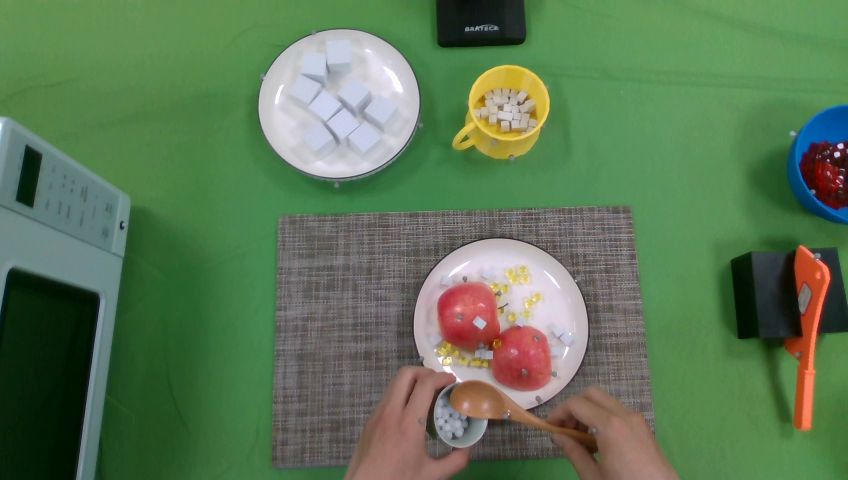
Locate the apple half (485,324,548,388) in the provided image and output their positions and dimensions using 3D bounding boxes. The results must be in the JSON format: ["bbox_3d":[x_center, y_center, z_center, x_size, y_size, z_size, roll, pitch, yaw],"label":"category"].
[{"bbox_3d":[0.110,0.135,0.708,0.081,0.033,0.081,0,74,1],"label":"apple half"}]

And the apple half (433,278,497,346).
[{"bbox_3d":[0.047,0.083,0.709,0.074,0.053,0.080,-4,79,1],"label":"apple half"}]

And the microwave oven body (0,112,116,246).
[{"bbox_3d":[-0.535,0.118,0.601,0.326,0.261,0.439,2,78,0],"label":"microwave oven body"}]

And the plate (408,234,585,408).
[{"bbox_3d":[0.084,0.097,0.722,0.209,0.038,0.208,0,78,0],"label":"plate"}]

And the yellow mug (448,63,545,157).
[{"bbox_3d":[0.086,-0.155,0.767,0.131,0.064,0.099,-33,79,-7],"label":"yellow mug"}]

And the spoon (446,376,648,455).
[{"bbox_3d":[0.115,0.172,0.576,0.193,0.021,0.042,16,102,13],"label":"spoon"}]

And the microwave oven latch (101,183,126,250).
[{"bbox_3d":[-0.381,-0.029,0.732,0.030,0.029,0.079,3,78,0],"label":"microwave oven latch"}]

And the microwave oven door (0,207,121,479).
[{"bbox_3d":[-0.390,0.162,0.587,0.039,0.245,0.354,1,77,1],"label":"microwave oven door"}]

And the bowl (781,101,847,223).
[{"bbox_3d":[0.505,-0.085,0.747,0.151,0.077,0.150,0,78,0],"label":"bowl"}]

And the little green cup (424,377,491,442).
[{"bbox_3d":[0.032,0.171,0.601,0.062,0.038,0.061,18,58,-31],"label":"little green cup"}]

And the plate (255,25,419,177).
[{"bbox_3d":[-0.110,-0.177,0.785,0.208,0.039,0.206,0,78,0],"label":"plate"}]

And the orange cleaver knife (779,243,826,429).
[{"bbox_3d":[0.432,0.111,0.701,0.012,0.077,0.212,0,101,4],"label":"orange cleaver knife"}]
